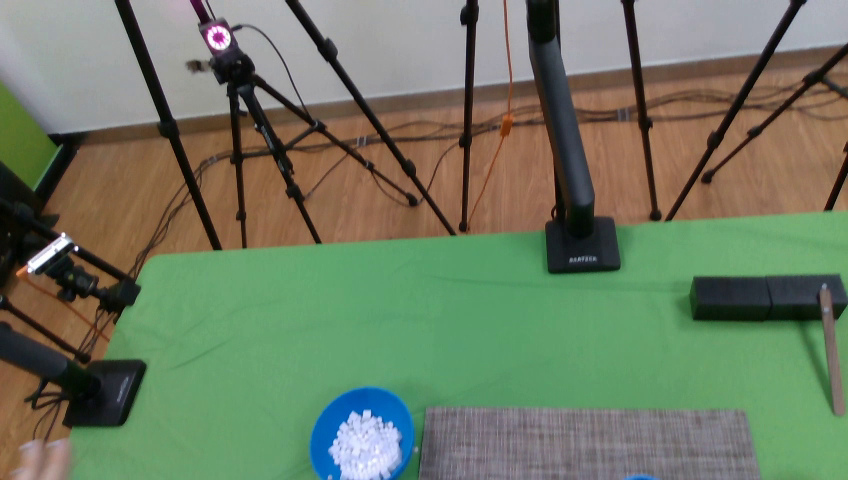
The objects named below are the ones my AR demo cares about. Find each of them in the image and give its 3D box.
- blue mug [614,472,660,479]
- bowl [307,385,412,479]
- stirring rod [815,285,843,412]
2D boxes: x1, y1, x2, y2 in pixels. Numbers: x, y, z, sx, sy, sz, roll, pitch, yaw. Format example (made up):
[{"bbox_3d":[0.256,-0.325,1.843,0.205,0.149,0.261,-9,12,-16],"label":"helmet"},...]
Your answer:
[{"bbox_3d":[0.246,0.347,0.724,0.081,0.107,0.116,32,66,33],"label":"blue mug"},{"bbox_3d":[-0.083,0.294,0.870,0.151,0.077,0.150,-6,51,9],"label":"bowl"},{"bbox_3d":[0.559,0.148,0.837,0.014,0.006,0.175,0,72,11],"label":"stirring rod"}]
